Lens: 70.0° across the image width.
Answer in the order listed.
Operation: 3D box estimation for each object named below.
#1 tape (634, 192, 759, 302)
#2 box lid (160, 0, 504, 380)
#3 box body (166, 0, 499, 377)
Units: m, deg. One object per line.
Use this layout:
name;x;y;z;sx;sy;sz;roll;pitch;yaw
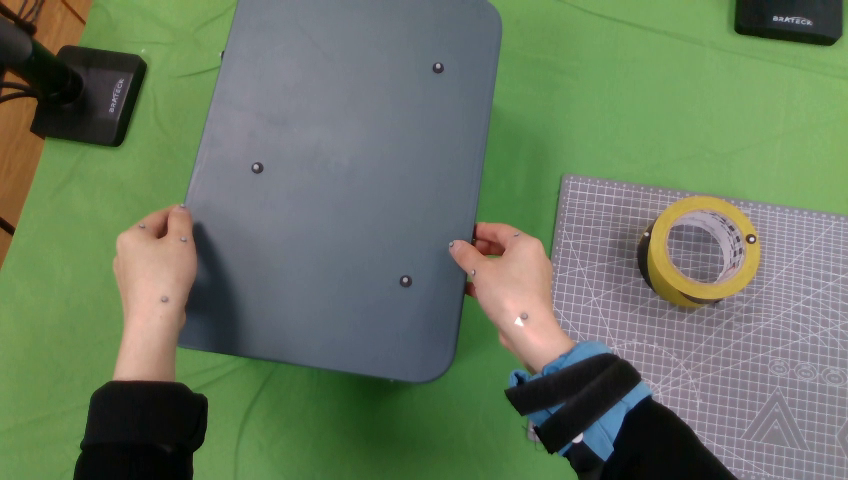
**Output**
tape;0.291;0.010;0.647;0.117;0.053;0.116;-1;77;4
box lid;-0.076;-0.074;0.554;0.263;0.015;0.370;8;78;5
box body;-0.073;-0.054;0.627;0.254;0.161;0.362;8;77;5
